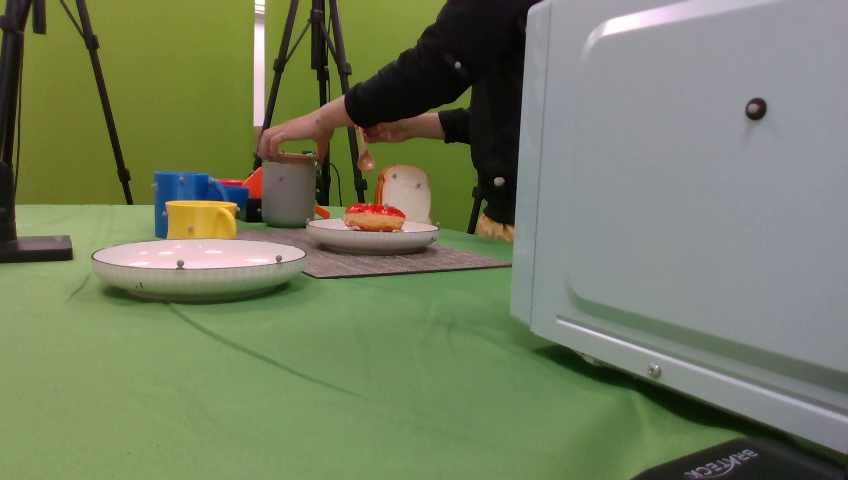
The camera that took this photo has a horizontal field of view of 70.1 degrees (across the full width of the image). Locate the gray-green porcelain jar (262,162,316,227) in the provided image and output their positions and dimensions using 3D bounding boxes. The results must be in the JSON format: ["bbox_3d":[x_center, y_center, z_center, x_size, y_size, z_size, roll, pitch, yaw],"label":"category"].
[{"bbox_3d":[-0.271,-0.092,1.217,0.106,0.126,0.106,2,7,0],"label":"gray-green porcelain jar"}]

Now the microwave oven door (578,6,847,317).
[{"bbox_3d":[0.294,-0.067,0.570,0.358,0.243,0.039,-3,9,-31],"label":"microwave oven door"}]

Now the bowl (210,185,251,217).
[{"bbox_3d":[-0.408,-0.064,1.155,0.151,0.077,0.151,2,8,0],"label":"bowl"}]

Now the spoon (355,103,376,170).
[{"bbox_3d":[-0.146,-0.250,1.450,0.041,0.193,0.021,-11,-19,1],"label":"spoon"}]

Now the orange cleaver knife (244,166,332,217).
[{"bbox_3d":[-0.301,-0.089,1.351,0.212,0.077,0.012,32,-11,-34],"label":"orange cleaver knife"}]

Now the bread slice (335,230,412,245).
[{"bbox_3d":[-0.074,-0.005,0.938,0.105,0.019,0.131,-2,3,-19],"label":"bread slice"}]

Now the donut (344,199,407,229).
[{"bbox_3d":[-0.076,-0.039,0.949,0.099,0.048,0.099,3,4,0],"label":"donut"}]

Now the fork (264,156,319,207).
[{"bbox_3d":[-0.331,-0.144,1.506,0.207,0.018,0.028,-42,-19,22],"label":"fork"}]

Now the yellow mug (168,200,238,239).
[{"bbox_3d":[-0.320,-0.023,0.904,0.130,0.064,0.100,9,10,36],"label":"yellow mug"}]

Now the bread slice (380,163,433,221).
[{"bbox_3d":[-0.035,-0.076,1.125,0.107,0.134,0.018,-4,1,-26],"label":"bread slice"}]

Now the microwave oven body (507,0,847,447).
[{"bbox_3d":[0.331,-0.042,0.425,0.444,0.260,0.324,-2,8,-31],"label":"microwave oven body"}]

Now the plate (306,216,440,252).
[{"bbox_3d":[-0.079,-0.011,0.950,0.209,0.038,0.209,2,8,0],"label":"plate"}]

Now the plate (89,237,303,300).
[{"bbox_3d":[-0.233,0.029,0.637,0.208,0.039,0.207,2,7,0],"label":"plate"}]

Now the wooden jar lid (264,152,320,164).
[{"bbox_3d":[-0.263,-0.164,1.206,0.108,0.020,0.108,4,8,0],"label":"wooden jar lid"}]

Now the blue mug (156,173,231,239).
[{"bbox_3d":[-0.381,-0.057,1.004,0.117,0.106,0.082,0,8,-12],"label":"blue mug"}]

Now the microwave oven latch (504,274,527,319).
[{"bbox_3d":[0.100,0.041,0.471,0.079,0.029,0.030,-1,8,-28],"label":"microwave oven latch"}]
